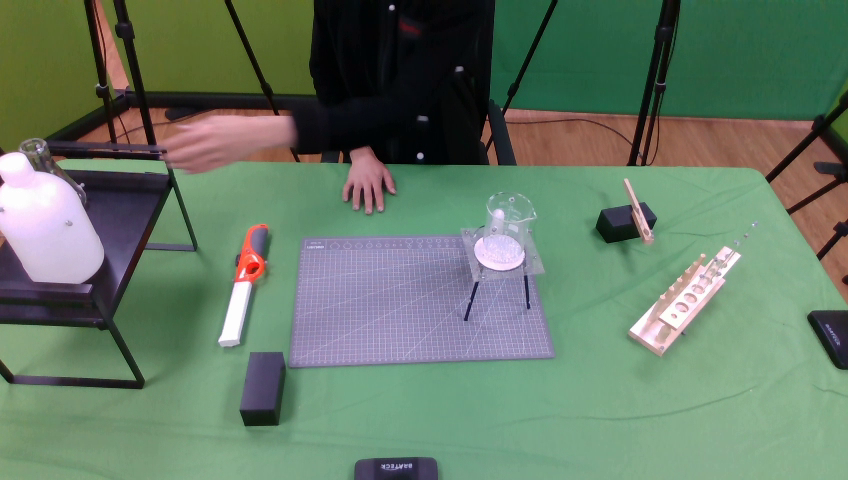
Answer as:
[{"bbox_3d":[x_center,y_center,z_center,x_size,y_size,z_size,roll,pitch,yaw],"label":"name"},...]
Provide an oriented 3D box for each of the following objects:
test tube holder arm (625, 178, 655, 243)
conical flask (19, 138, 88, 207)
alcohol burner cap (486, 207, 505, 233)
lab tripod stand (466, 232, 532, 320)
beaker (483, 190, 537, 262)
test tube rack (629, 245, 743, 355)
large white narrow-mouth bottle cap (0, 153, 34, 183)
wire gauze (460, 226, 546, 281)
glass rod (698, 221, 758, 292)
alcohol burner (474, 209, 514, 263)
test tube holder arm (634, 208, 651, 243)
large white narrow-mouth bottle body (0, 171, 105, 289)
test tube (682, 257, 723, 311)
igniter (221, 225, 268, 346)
[{"bbox_3d":[0.433,-0.062,1.220,0.013,0.015,0.177,1,47,-3],"label":"test tube holder arm"},{"bbox_3d":[-0.576,-0.097,0.930,0.075,0.122,0.075,2,46,-2],"label":"conical flask"},{"bbox_3d":[0.135,-0.039,1.125,0.034,0.048,0.033,5,41,-4],"label":"alcohol burner cap"},{"bbox_3d":[0.125,0.059,1.065,0.148,0.132,0.147,1,45,0],"label":"lab tripod stand"},{"bbox_3d":[0.136,-0.019,0.983,0.084,0.101,0.073,17,47,14],"label":"beaker"},{"bbox_3d":[0.474,0.095,1.091,0.242,0.085,0.066,-34,56,-31],"label":"test tube rack"},{"bbox_3d":[-0.510,-0.090,0.754,0.038,0.024,0.037,2,46,-2],"label":"large white narrow-mouth bottle cap"},{"bbox_3d":[0.131,0.017,1.016,0.121,0.011,0.124,-4,43,-9],"label":"wire gauze"},{"bbox_3d":[0.528,0.035,1.059,0.008,0.200,0.008,5,49,-6],"label":"glass rod"},{"bbox_3d":[0.134,-0.013,1.150,0.078,0.120,0.077,0,47,0],"label":"alcohol burner"},{"bbox_3d":[0.428,-0.030,1.189,0.010,0.015,0.087,1,47,-2],"label":"test tube holder arm"},{"bbox_3d":[-0.513,-0.029,0.818,0.102,0.195,0.101,2,46,-2],"label":"large white narrow-mouth bottle body"},{"bbox_3d":[0.475,0.080,1.037,0.017,0.151,0.017,1,50,-1],"label":"test tube"},{"bbox_3d":[-0.323,0.072,1.100,0.057,0.025,0.274,-6,45,5],"label":"igniter"}]
